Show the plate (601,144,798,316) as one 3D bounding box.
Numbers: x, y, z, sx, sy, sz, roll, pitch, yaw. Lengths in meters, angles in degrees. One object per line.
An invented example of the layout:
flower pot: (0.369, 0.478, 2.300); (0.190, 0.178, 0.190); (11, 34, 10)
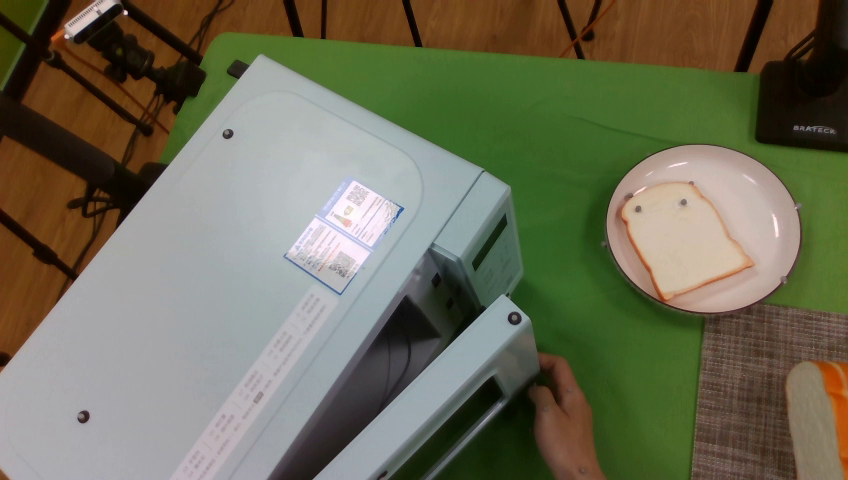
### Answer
plate: (0.311, -0.011, 0.698); (0.207, 0.039, 0.206); (-4, 69, 10)

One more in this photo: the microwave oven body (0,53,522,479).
microwave oven body: (-0.152, 0.093, 0.633); (0.324, 0.262, 0.441); (30, 79, 20)

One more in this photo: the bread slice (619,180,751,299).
bread slice: (0.288, -0.006, 0.699); (0.107, 0.018, 0.133); (-25, 65, -1)

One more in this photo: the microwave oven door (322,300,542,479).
microwave oven door: (-0.032, 0.213, 0.556); (0.355, 0.246, 0.039); (-44, 66, -6)

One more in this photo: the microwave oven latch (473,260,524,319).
microwave oven latch: (0.086, 0.053, 0.702); (0.030, 0.030, 0.079); (32, 80, 21)
